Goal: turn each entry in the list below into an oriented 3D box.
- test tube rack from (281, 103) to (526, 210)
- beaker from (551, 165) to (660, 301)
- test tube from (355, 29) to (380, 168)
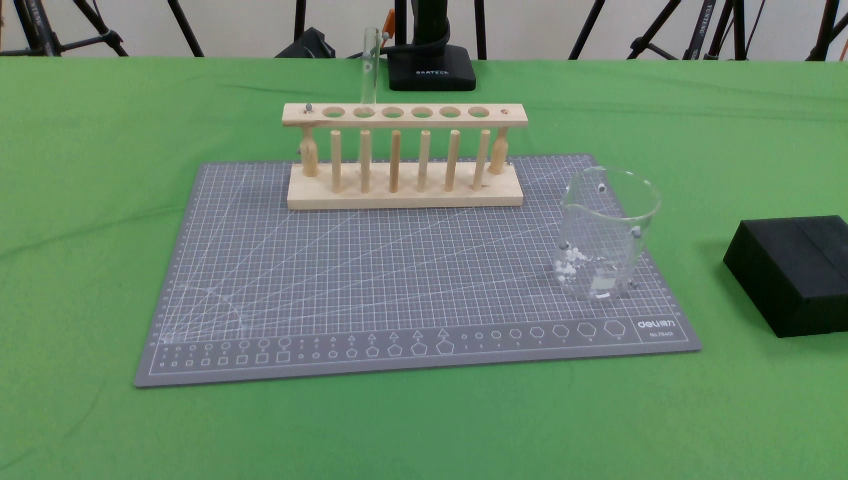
[{"bbox_3d":[-0.020,-0.086,0.622,0.243,0.086,0.066,-1,41,-6],"label":"test tube rack"},{"bbox_3d":[0.150,-0.003,0.527,0.084,0.101,0.073,-8,42,-11],"label":"beaker"},{"bbox_3d":[-0.057,-0.134,0.599,0.017,0.151,0.017,6,40,-4],"label":"test tube"}]
